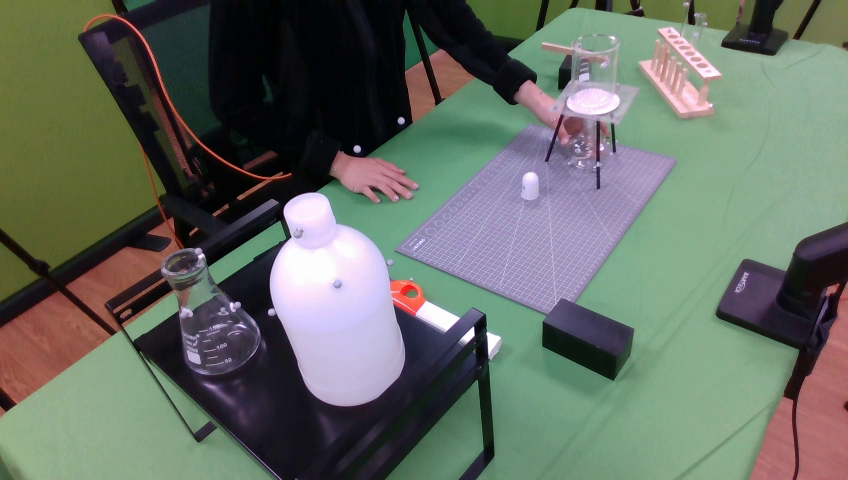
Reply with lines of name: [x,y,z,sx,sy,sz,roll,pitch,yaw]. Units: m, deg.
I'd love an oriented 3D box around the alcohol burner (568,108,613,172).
alcohol burner: [0.296,-0.182,1.074,0.078,0.119,0.077,-5,43,5]

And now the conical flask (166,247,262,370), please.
conical flask: [-0.209,0.063,0.584,0.075,0.122,0.075,-5,41,4]

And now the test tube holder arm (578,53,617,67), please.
test tube holder arm: [0.376,-0.393,1.314,0.087,0.015,0.010,26,51,32]

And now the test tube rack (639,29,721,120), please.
test tube rack: [0.527,-0.351,1.262,0.067,0.085,0.241,-8,40,1]

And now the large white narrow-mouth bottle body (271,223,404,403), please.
large white narrow-mouth bottle body: [-0.077,0.048,0.525,0.102,0.195,0.101,-5,40,5]

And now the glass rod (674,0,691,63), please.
glass rod: [0.537,-0.437,1.257,0.008,0.200,0.008,0,39,1]

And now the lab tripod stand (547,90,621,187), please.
lab tripod stand: [0.289,-0.184,1.062,0.148,0.132,0.147,-6,41,5]

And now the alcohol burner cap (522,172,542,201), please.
alcohol burner cap: [0.186,-0.096,1.047,0.034,0.048,0.033,-6,37,5]

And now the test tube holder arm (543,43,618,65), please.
test tube holder arm: [0.344,-0.413,1.340,0.177,0.015,0.013,25,51,31]

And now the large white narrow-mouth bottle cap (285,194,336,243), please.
large white narrow-mouth bottle cap: [-0.087,-0.017,0.468,0.038,0.024,0.037,-5,40,4]

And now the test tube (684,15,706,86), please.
test tube: [0.541,-0.378,1.216,0.017,0.151,0.017,-2,44,3]

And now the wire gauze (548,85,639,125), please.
wire gauze: [0.286,-0.233,1.020,0.124,0.011,0.122,15,43,30]

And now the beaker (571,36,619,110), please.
beaker: [0.281,-0.273,0.992,0.084,0.101,0.073,-24,42,-16]

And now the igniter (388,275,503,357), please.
igniter: [-0.008,0.093,0.870,0.274,0.025,0.057,24,60,33]
